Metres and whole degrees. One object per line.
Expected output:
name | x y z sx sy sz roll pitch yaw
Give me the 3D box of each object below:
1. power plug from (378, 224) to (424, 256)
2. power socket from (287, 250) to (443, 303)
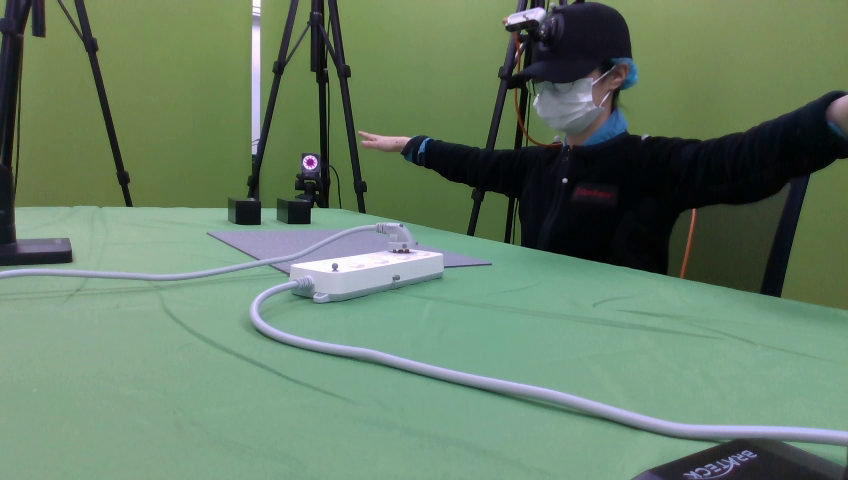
power plug | -0.025 0.009 0.729 0.053 0.035 0.072 5 27 -23
power socket | -0.059 0.035 0.689 0.072 0.032 0.228 6 8 34
